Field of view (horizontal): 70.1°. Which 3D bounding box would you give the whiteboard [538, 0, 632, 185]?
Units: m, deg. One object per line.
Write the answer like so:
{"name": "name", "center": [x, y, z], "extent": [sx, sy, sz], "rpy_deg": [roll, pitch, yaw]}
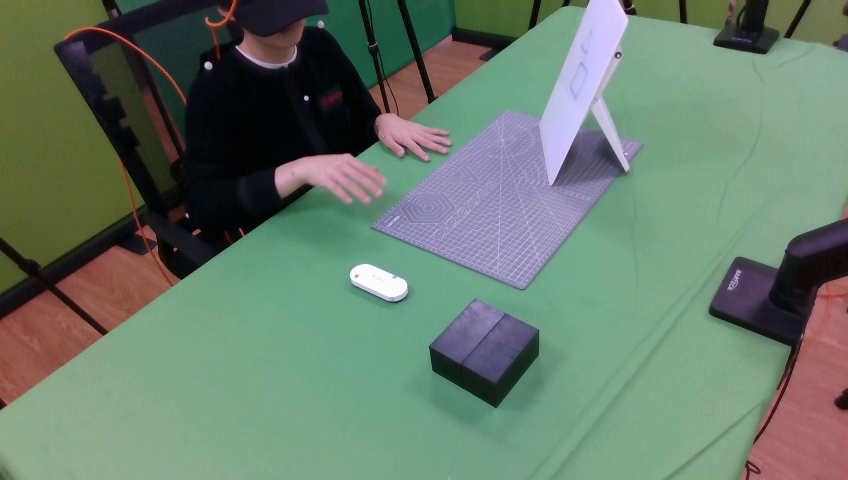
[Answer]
{"name": "whiteboard", "center": [0.327, -0.259, 1.055], "extent": [0.144, 0.305, 0.216], "rpy_deg": [13, 40, -6]}

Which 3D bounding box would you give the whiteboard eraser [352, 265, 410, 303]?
{"name": "whiteboard eraser", "center": [-0.066, 0.065, 0.914], "extent": [0.100, 0.019, 0.041], "rpy_deg": [21, 49, 31]}
